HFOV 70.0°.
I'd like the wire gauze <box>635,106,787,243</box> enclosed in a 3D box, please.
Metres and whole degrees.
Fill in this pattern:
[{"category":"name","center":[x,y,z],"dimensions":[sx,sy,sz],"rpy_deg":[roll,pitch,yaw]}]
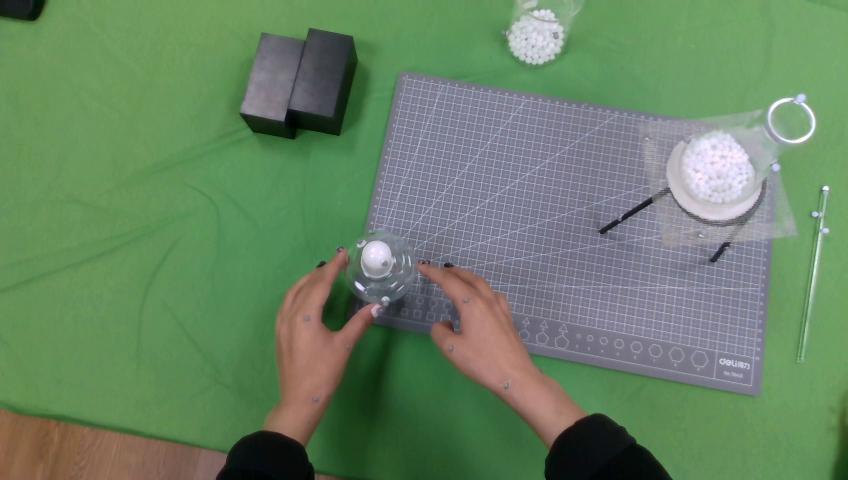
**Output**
[{"category":"wire gauze","center":[0.264,-0.060,0.556],"dimensions":[0.125,0.011,0.121],"rpy_deg":[-5,81,-3]}]

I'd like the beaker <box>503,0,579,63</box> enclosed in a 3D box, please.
[{"category":"beaker","center":[0.132,-0.255,0.685],"dimensions":[0.084,0.100,0.073],"rpy_deg":[-30,79,-6]}]

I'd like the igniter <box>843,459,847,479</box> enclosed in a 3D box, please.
[{"category":"igniter","center":[0.483,0.161,0.634],"dimensions":[0.057,0.025,0.275],"rpy_deg":[25,79,-5]}]

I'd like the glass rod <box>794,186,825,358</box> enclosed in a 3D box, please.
[{"category":"glass rod","center":[0.427,0.033,0.671],"dimensions":[0.008,0.008,0.199],"rpy_deg":[15,78,3]}]

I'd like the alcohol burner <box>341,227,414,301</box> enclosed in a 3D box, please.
[{"category":"alcohol burner","center":[-0.048,0.022,0.616],"dimensions":[0.078,0.119,0.077],"rpy_deg":[0,80,-1]}]

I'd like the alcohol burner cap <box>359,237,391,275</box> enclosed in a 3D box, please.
[{"category":"alcohol burner cap","center":[-0.047,0.013,0.581],"dimensions":[0.034,0.048,0.033],"rpy_deg":[1,77,-5]}]

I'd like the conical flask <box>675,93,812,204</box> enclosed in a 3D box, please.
[{"category":"conical flask","center":[0.265,-0.078,0.499],"dimensions":[0.075,0.122,0.075],"rpy_deg":[0,80,1]}]

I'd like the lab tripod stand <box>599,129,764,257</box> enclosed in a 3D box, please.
[{"category":"lab tripod stand","center":[0.266,-0.044,0.620],"dimensions":[0.148,0.132,0.148],"rpy_deg":[0,79,1]}]
